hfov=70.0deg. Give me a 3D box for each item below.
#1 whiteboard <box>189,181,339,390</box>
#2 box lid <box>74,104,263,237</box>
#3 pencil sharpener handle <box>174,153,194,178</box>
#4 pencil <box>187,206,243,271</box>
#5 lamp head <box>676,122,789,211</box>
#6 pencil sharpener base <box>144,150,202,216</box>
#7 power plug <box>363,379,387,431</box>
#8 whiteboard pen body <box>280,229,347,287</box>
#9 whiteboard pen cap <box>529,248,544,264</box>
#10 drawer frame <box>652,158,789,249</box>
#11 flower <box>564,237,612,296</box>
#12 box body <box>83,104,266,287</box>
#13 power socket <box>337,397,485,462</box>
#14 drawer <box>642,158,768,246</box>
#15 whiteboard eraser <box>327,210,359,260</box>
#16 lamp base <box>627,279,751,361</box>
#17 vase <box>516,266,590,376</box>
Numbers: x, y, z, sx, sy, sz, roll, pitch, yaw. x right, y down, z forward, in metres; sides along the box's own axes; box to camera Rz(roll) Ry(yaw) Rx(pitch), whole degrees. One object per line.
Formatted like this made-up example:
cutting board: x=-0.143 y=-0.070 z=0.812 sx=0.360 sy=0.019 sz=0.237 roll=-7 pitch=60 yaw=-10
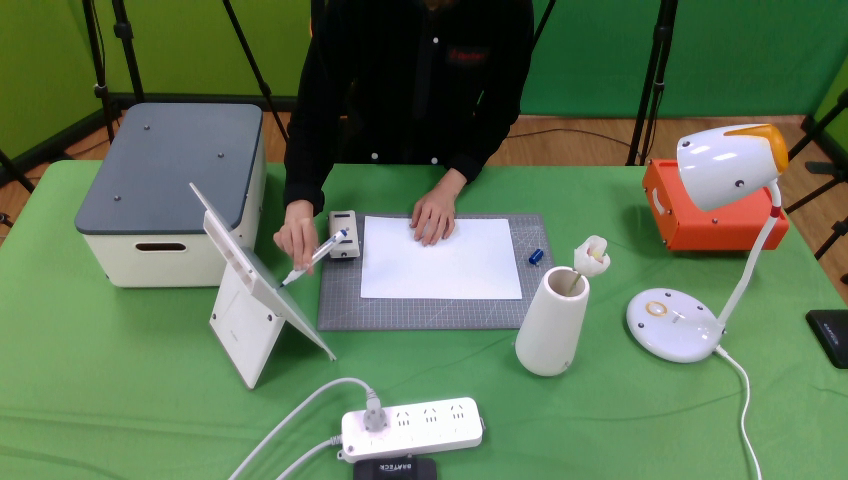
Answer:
whiteboard: x=-0.292 y=0.096 z=0.929 sx=0.144 sy=0.307 sz=0.216 roll=-37 pitch=57 yaw=-10
box lid: x=-0.443 y=-0.139 z=1.095 sx=0.263 sy=0.015 sz=0.369 roll=-1 pitch=45 yaw=-5
pencil sharpener handle: x=-0.479 y=-0.156 z=1.225 sx=0.036 sy=0.068 sz=0.030 roll=24 pitch=48 yaw=2
pencil: x=-0.401 y=-0.009 z=1.176 sx=0.012 sy=0.012 sz=0.193 roll=15 pitch=44 yaw=10
lamp head: x=0.423 y=-0.104 z=0.819 sx=0.122 sy=0.113 sz=0.112 roll=-13 pitch=33 yaw=40
pencil sharpener base: x=-0.493 y=-0.113 z=1.199 sx=0.061 sy=0.107 sz=0.076 roll=15 pitch=47 yaw=11
power plug: x=-0.072 y=0.252 z=0.910 sx=0.035 sy=0.053 sz=0.072 roll=3 pitch=45 yaw=-1
whiteboard pen body: x=-0.183 y=0.031 z=0.995 sx=0.141 sy=0.017 sz=0.017 roll=-41 pitch=57 yaw=-5
whiteboard pen cap: x=0.219 y=0.032 z=1.183 sx=0.018 sy=0.018 sz=0.033 roll=31 pitch=51 yaw=23
drawer frame: x=0.571 y=-0.075 z=1.214 sx=0.214 sy=0.083 sz=0.200 roll=0 pitch=45 yaw=-1
flower: x=0.206 y=0.088 z=0.893 sx=0.038 sy=0.363 sz=0.044 roll=-17 pitch=67 yaw=-9
box body: x=-0.447 y=-0.088 z=1.150 sx=0.254 sy=0.161 sz=0.361 roll=-1 pitch=46 yaw=-5
power socket: x=-0.018 y=0.285 z=0.915 sx=0.227 sy=0.033 sz=0.071 roll=-5 pitch=46 yaw=-8
drawer: x=0.565 y=-0.076 z=1.211 sx=0.212 sy=0.073 sz=0.193 roll=2 pitch=45 yaw=-2
whiteboard eraser: x=-0.158 y=-0.010 z=1.176 sx=0.055 sy=0.042 sz=0.112 roll=-5 pitch=47 yaw=-7
lamp base: x=0.459 y=0.100 z=1.027 sx=0.178 sy=0.181 sz=0.160 roll=27 pitch=51 yaw=17
vase: x=0.208 y=0.132 z=0.964 sx=0.098 sy=0.201 sz=0.097 roll=3 pitch=46 yaw=-3
